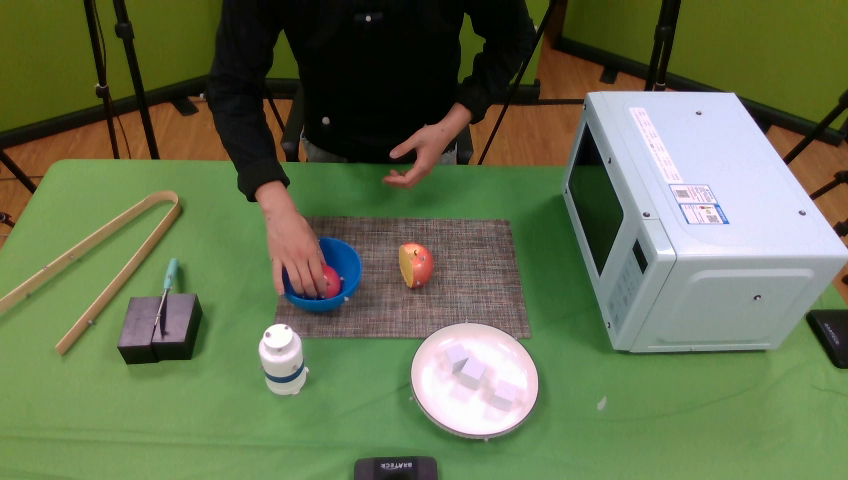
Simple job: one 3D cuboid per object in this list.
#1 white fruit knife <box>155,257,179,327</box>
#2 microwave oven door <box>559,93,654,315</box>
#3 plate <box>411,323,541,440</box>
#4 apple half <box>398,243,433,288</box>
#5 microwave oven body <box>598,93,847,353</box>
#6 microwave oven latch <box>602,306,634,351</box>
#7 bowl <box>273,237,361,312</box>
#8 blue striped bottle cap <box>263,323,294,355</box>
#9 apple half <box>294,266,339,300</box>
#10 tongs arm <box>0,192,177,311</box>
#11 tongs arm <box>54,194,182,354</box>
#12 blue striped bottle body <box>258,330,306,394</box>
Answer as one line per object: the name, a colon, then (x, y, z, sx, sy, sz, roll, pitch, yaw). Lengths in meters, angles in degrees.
white fruit knife: (-0.440, 0.085, 1.037, 0.016, 0.027, 0.206, 10, 26, -19)
microwave oven door: (0.327, -0.074, 1.123, 0.039, 0.245, 0.353, -1, 46, -5)
plate: (0.082, 0.228, 0.976, 0.208, 0.039, 0.206, 2, 45, -2)
apple half: (-0.012, 0.046, 1.115, 0.053, 0.075, 0.080, -11, 44, -20)
microwave oven body: (0.475, -0.041, 1.109, 0.326, 0.261, 0.438, -1, 45, -4)
microwave oven latch: (0.332, 0.153, 1.044, 0.030, 0.029, 0.078, -1, 45, -4)
bowl: (-0.185, 0.074, 1.069, 0.151, 0.077, 0.150, 3, 46, -2)
blue striped bottle cap: (-0.217, 0.146, 0.900, 0.044, 0.021, 0.044, 1, 46, -1)
apple half: (-0.187, 0.067, 1.063, 0.081, 0.033, 0.081, 8, 40, -6)
tongs arm: (-0.618, 0.019, 1.123, 0.050, 0.026, 0.384, 23, 47, 17)
tongs arm: (-0.543, 0.048, 1.107, 0.028, 0.028, 0.385, 11, 45, 10)
blue striped bottle body: (-0.220, 0.182, 0.937, 0.063, 0.121, 0.062, 2, 46, -2)
